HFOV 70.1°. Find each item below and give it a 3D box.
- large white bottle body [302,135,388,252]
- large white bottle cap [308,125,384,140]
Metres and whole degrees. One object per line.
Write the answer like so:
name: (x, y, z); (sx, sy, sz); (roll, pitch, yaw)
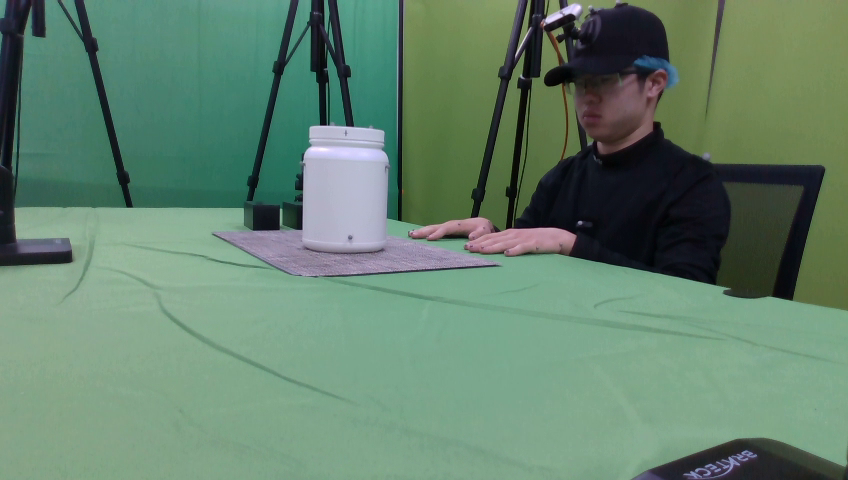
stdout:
large white bottle body: (-0.122, -0.080, 0.937); (0.131, 0.184, 0.130); (2, 7, 0)
large white bottle cap: (-0.119, -0.163, 0.927); (0.115, 0.018, 0.115); (2, 6, 0)
